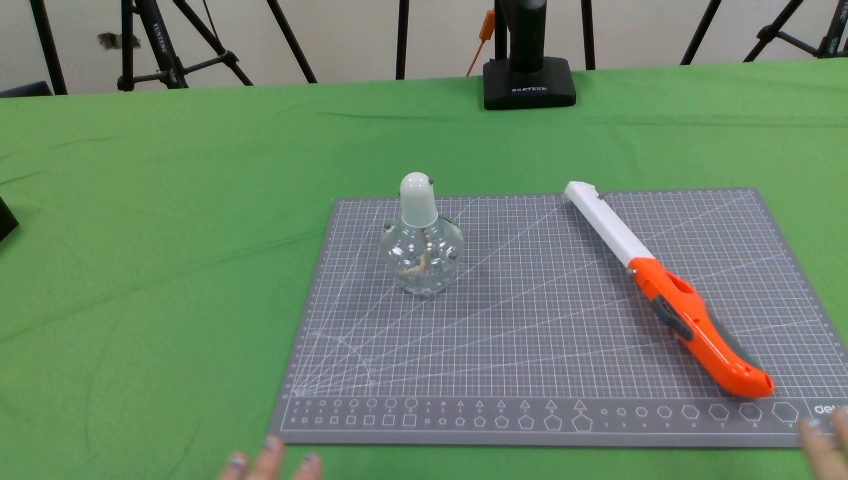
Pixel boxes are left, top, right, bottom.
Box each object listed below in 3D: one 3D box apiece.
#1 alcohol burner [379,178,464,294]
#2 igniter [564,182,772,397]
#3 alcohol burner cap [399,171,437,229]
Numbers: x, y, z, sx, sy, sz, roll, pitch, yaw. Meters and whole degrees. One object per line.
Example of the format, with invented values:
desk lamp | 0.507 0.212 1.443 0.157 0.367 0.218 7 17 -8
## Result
alcohol burner | -0.003 -0.009 0.537 0.078 0.120 0.077 -2 43 2
igniter | 0.198 0.029 0.533 0.057 0.025 0.273 4 35 -23
alcohol burner cap | -0.006 -0.037 0.513 0.034 0.048 0.033 -2 45 2
